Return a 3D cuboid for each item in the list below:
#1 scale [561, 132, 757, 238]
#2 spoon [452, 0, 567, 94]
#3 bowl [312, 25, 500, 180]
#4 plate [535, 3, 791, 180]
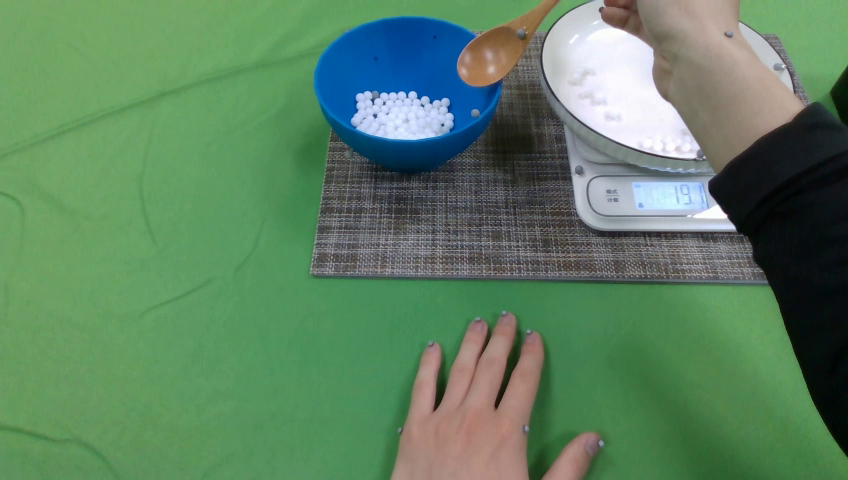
[{"bbox_3d":[0.196,-0.089,0.530,0.149,0.032,0.199,0,55,0],"label":"scale"},{"bbox_3d":[0.099,-0.172,0.440,0.022,0.194,0.041,-3,62,-56],"label":"spoon"},{"bbox_3d":[-0.014,-0.104,0.511,0.151,0.077,0.150,0,54,0],"label":"bowl"},{"bbox_3d":[0.196,-0.126,0.516,0.209,0.038,0.207,1,55,-1],"label":"plate"}]
